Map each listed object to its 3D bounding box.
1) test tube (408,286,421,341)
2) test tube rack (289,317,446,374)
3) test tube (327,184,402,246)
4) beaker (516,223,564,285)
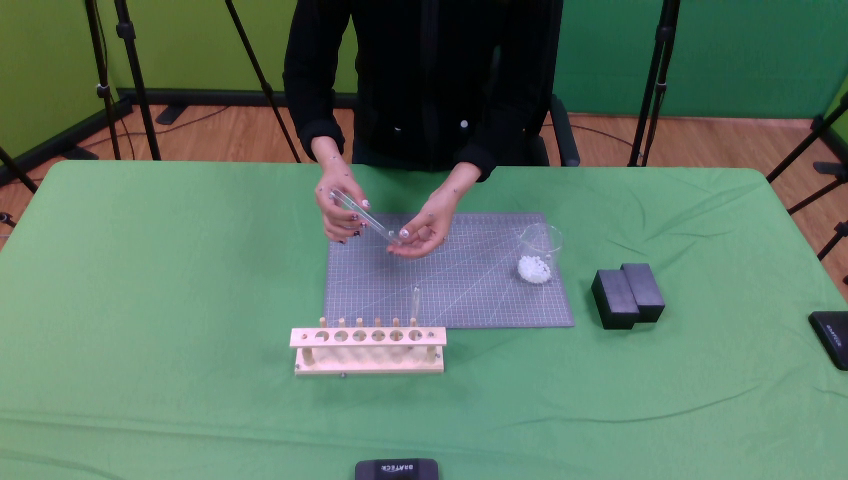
[{"bbox_3d":[-0.016,0.124,0.973,0.017,0.151,0.017,2,46,-2],"label":"test tube"},{"bbox_3d":[-0.089,0.167,0.987,0.242,0.085,0.066,0,46,-4],"label":"test tube rack"},{"bbox_3d":[-0.089,-0.036,0.935,0.151,0.017,0.017,40,38,-28],"label":"test tube"},{"bbox_3d":[0.211,0.029,1.131,0.084,0.101,0.073,-1,46,-4],"label":"beaker"}]
